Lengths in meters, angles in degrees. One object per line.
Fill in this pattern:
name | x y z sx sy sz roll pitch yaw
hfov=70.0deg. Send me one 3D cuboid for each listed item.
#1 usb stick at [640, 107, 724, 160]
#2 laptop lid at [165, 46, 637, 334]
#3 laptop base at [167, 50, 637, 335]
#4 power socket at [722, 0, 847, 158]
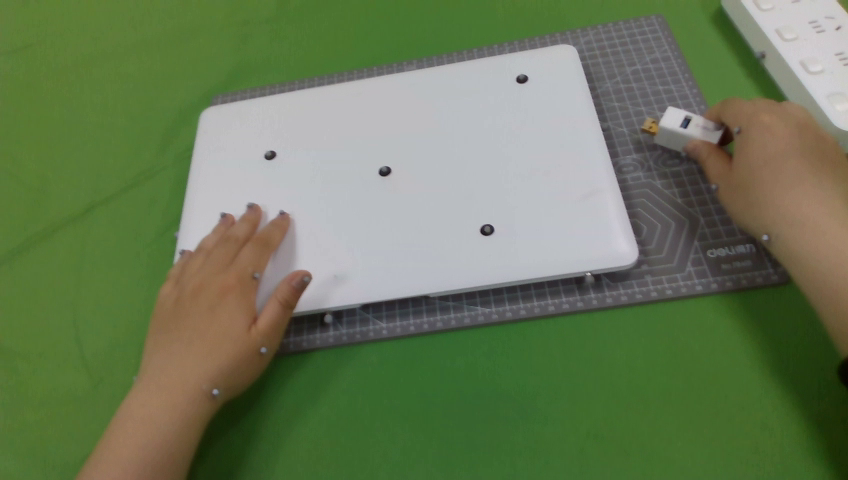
usb stick | 0.197 -0.084 0.467 0.058 0.027 0.021 23 69 29
laptop lid | -0.030 -0.052 0.495 0.356 0.013 0.239 -7 57 7
laptop base | -0.029 -0.047 0.506 0.354 0.023 0.233 -9 58 5
power socket | 0.322 -0.156 0.501 0.072 0.033 0.224 -11 54 3
